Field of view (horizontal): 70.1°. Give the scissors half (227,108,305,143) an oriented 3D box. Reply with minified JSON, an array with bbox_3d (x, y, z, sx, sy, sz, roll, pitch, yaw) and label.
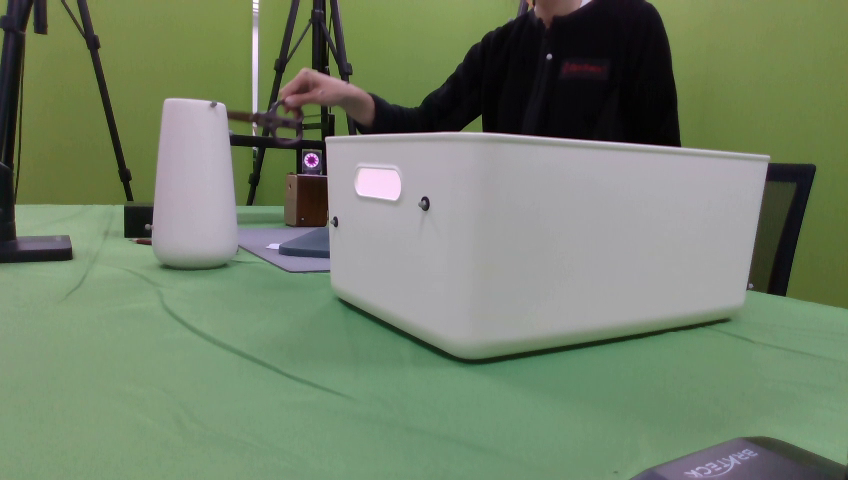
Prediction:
[{"bbox_3d":[-0.264,-0.187,0.968,0.013,0.040,0.176,3,-4,41],"label":"scissors half"}]

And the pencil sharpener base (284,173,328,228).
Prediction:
[{"bbox_3d":[-0.239,-0.081,1.231,0.077,0.107,0.061,-2,8,-36],"label":"pencil sharpener base"}]

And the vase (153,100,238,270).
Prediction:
[{"bbox_3d":[-0.278,-0.066,0.736,0.098,0.200,0.098,2,9,0],"label":"vase"}]

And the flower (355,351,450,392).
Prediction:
[{"bbox_3d":[0.105,0.076,0.586,0.363,0.044,0.038,-20,39,-14],"label":"flower"}]

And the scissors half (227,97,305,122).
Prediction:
[{"bbox_3d":[-0.263,-0.207,0.965,0.012,0.040,0.176,10,17,40],"label":"scissors half"}]

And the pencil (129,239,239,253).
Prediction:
[{"bbox_3d":[-0.350,0.008,0.874,0.193,0.012,0.012,4,8,19],"label":"pencil"}]

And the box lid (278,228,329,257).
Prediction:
[{"bbox_3d":[-0.019,0.012,0.950,0.371,0.015,0.263,4,7,4],"label":"box lid"}]

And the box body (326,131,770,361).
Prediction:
[{"bbox_3d":[0.112,-0.010,0.583,0.366,0.160,0.253,-2,9,-33],"label":"box body"}]
